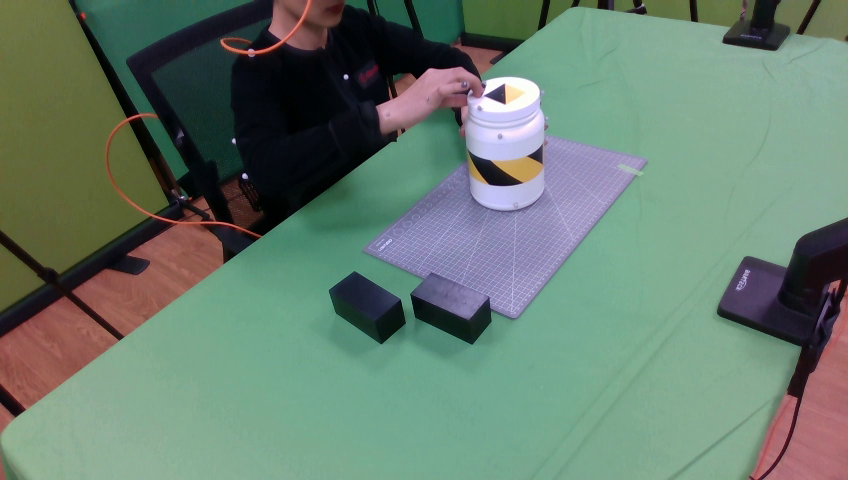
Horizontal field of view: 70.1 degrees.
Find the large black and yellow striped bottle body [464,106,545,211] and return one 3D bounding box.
[{"bbox_3d":[0.136,-0.156,1.011,0.131,0.185,0.130,-5,40,5],"label":"large black and yellow striped bottle body"}]

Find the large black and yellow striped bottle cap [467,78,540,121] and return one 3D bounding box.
[{"bbox_3d":[0.125,-0.224,0.955,0.115,0.019,0.114,-4,41,4],"label":"large black and yellow striped bottle cap"}]
